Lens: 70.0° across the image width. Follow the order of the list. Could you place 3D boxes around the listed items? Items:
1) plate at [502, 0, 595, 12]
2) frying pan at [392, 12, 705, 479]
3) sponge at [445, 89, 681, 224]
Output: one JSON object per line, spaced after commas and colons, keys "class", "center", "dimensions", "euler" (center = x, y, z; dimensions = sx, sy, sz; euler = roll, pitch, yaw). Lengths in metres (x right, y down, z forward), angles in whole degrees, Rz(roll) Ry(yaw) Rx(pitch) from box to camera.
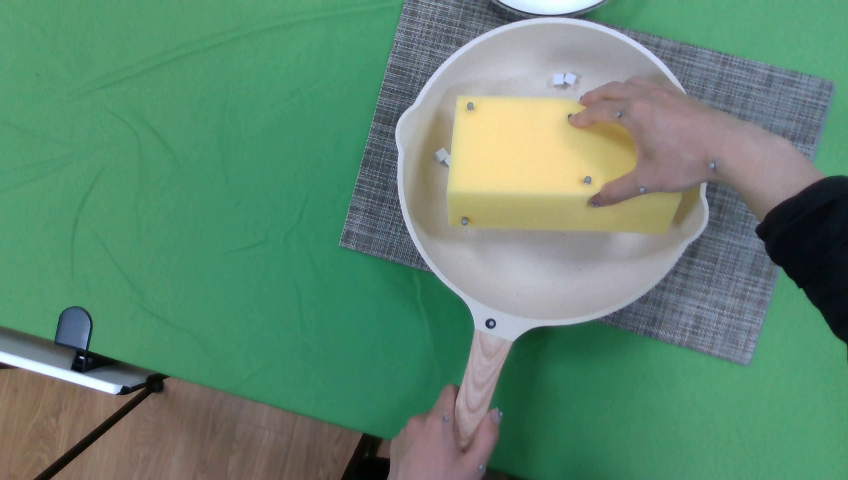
{"class": "plate", "center": [0.130, -0.334, 0.618], "dimensions": [0.207, 0.039, 0.207], "euler": [0, 92, 5]}
{"class": "frying pan", "center": [0.084, 0.027, 0.597], "dimensions": [0.306, 0.103, 0.487], "euler": [19, 85, 5]}
{"class": "sponge", "center": [0.127, -0.081, 0.582], "dimensions": [0.207, 0.061, 0.117], "euler": [1, 61, 5]}
